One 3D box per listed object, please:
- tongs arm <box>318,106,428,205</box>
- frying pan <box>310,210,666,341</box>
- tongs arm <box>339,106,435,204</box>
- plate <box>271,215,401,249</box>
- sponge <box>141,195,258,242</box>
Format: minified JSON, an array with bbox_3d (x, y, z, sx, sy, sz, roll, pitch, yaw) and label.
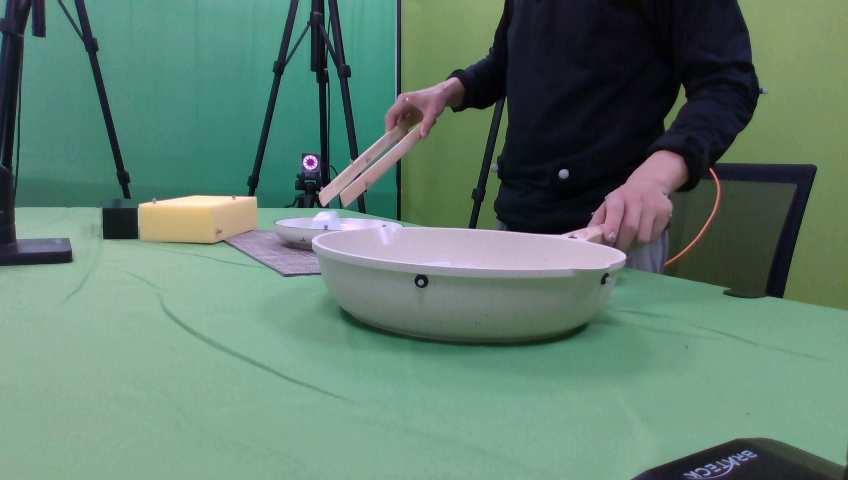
[{"bbox_3d":[-0.080,-0.165,1.110,0.050,0.026,0.385,-4,29,26],"label":"tongs arm"},{"bbox_3d":[0.120,0.011,0.643,0.490,0.102,0.305,-13,16,-36],"label":"frying pan"},{"bbox_3d":[-0.055,-0.166,1.096,0.028,0.028,0.388,-6,28,30],"label":"tongs arm"},{"bbox_3d":[-0.141,-0.012,0.978,0.208,0.039,0.207,3,7,0],"label":"plate"},{"bbox_3d":[-0.380,-0.040,1.047,0.118,0.061,0.207,1,8,3],"label":"sponge"}]
